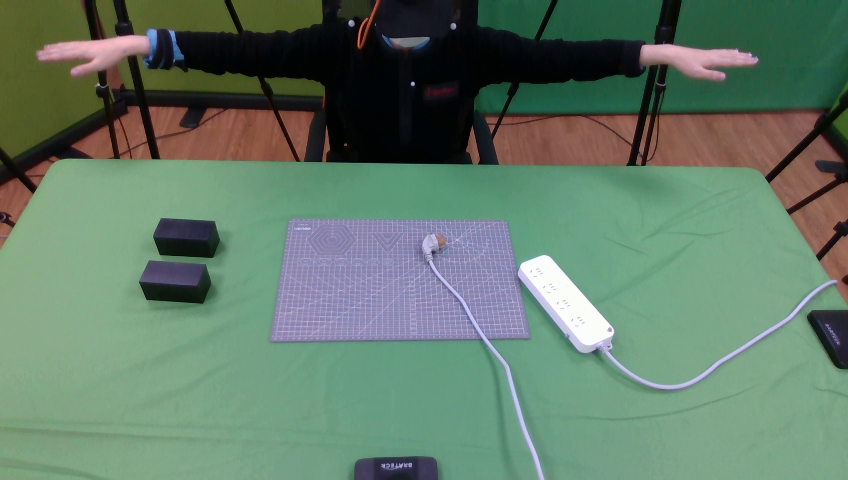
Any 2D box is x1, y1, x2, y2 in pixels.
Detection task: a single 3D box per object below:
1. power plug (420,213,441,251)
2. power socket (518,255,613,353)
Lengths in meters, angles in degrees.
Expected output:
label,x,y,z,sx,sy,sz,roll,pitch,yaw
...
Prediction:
label,x,y,z,sx,sy,sz,roll,pitch,yaw
power plug,0.014,-0.015,1.169,0.035,0.072,0.052,7,13,-10
power socket,0.253,0.112,1.099,0.072,0.033,0.225,-19,51,-20
